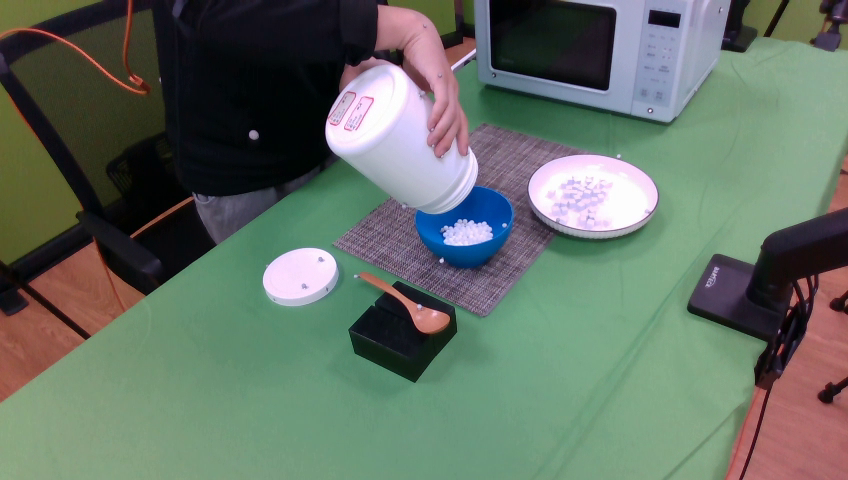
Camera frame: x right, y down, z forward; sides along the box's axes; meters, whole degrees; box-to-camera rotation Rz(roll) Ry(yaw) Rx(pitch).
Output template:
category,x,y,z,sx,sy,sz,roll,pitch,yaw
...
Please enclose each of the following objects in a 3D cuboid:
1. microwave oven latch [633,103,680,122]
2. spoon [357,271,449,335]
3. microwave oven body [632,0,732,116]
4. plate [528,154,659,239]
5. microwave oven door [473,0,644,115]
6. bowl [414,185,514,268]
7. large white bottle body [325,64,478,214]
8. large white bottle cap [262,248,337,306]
category,x,y,z,sx,sy,sz,roll,pitch,yaw
microwave oven latch,0.443,-0.249,1.157,0.078,0.029,0.030,21,49,30
spoon,-0.034,0.078,0.812,0.042,0.022,0.192,-35,42,-24
microwave oven body,0.377,-0.463,1.267,0.438,0.261,0.327,21,49,30
plate,0.274,-0.069,0.993,0.209,0.038,0.208,-2,42,2
microwave oven door,0.257,-0.396,1.199,0.353,0.245,0.039,21,48,29
bowl,0.063,-0.010,0.922,0.151,0.077,0.150,-4,40,4
large white bottle body,-0.023,-0.123,0.790,0.130,0.186,0.130,-22,51,30
large white bottle cap,-0.193,0.056,0.934,0.115,0.018,0.114,-5,41,4
